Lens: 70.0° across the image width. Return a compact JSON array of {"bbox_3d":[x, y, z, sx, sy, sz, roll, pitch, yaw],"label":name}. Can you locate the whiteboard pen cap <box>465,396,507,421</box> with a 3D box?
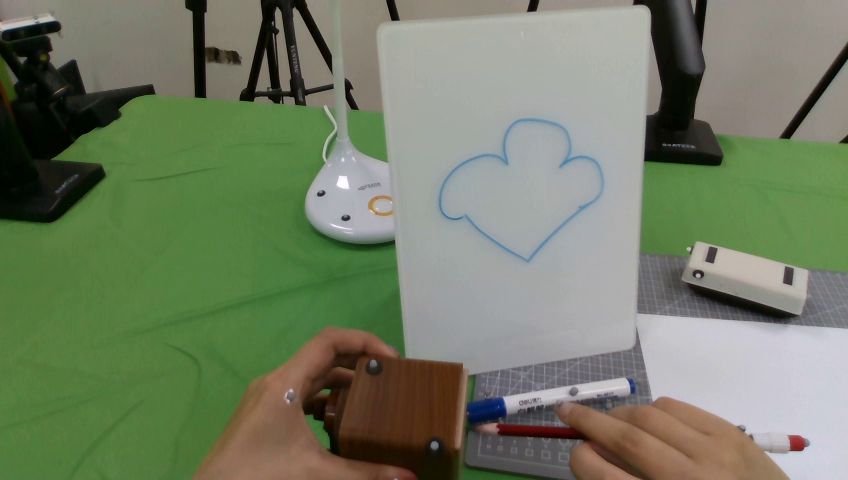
[{"bbox_3d":[0.051,0.139,0.502,0.033,0.018,0.018,-8,38,-8],"label":"whiteboard pen cap"}]

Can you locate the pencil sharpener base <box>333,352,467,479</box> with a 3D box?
[{"bbox_3d":[-0.014,0.128,0.392,0.076,0.108,0.061,5,45,6],"label":"pencil sharpener base"}]

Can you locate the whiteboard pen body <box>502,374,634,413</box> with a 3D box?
[{"bbox_3d":[0.109,0.131,0.510,0.141,0.017,0.017,-7,38,-8],"label":"whiteboard pen body"}]

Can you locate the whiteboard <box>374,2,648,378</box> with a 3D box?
[{"bbox_3d":[0.070,-0.048,0.566,0.217,0.307,0.143,-7,19,-8],"label":"whiteboard"}]

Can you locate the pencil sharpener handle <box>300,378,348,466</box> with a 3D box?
[{"bbox_3d":[-0.065,0.117,0.385,0.030,0.068,0.036,5,29,6],"label":"pencil sharpener handle"}]

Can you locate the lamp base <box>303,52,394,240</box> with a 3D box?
[{"bbox_3d":[-0.077,-0.117,0.711,0.161,0.182,0.177,-26,42,-30],"label":"lamp base"}]

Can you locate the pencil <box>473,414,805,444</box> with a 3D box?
[{"bbox_3d":[0.125,0.115,0.373,0.193,0.012,0.012,-1,36,14],"label":"pencil"}]

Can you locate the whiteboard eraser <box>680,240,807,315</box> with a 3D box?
[{"bbox_3d":[0.324,0.039,0.617,0.112,0.042,0.055,18,42,22],"label":"whiteboard eraser"}]
